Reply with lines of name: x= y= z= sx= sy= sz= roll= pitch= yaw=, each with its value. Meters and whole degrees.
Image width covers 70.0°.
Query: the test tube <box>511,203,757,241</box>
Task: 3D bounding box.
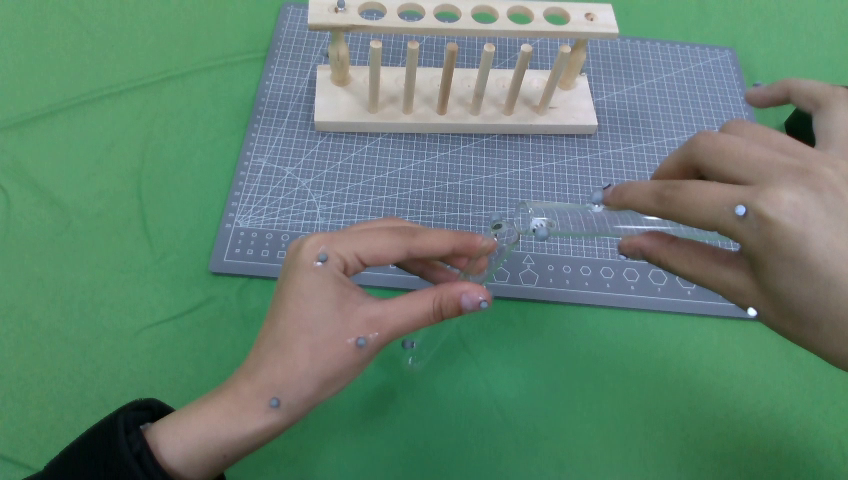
test tube: x=0.111 y=-0.008 z=0.302 sx=0.151 sy=0.017 sz=0.017 roll=1 pitch=57 yaw=-24

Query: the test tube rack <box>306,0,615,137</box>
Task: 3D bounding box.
test tube rack: x=0.028 y=-0.140 z=0.503 sx=0.243 sy=0.086 sz=0.066 roll=0 pitch=59 yaw=-5

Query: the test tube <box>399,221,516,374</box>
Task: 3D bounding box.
test tube: x=0.013 y=0.039 z=0.339 sx=0.017 sy=0.151 sz=0.017 roll=12 pitch=51 yaw=-15
